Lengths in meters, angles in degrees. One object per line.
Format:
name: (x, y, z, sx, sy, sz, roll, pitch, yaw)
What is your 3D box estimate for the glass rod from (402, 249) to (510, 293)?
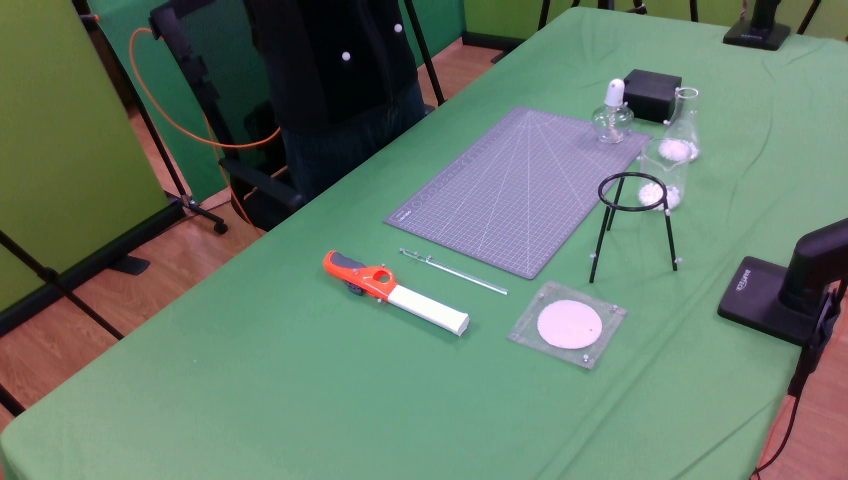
glass rod: (0.045, 0.046, 0.932, 0.198, 0.008, 0.008, 20, 49, 31)

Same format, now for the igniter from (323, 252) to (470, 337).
igniter: (-0.052, 0.075, 0.901, 0.274, 0.025, 0.057, 22, 60, 32)

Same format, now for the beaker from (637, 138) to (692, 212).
beaker: (0.383, -0.100, 0.970, 0.074, 0.101, 0.084, 2, 42, 14)

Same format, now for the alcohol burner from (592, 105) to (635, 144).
alcohol burner: (0.353, -0.242, 1.126, 0.078, 0.119, 0.077, -5, 38, 5)

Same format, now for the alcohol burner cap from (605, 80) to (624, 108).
alcohol burner cap: (0.350, -0.269, 1.102, 0.034, 0.048, 0.033, -2, 45, 3)

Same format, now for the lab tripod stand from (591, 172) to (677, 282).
lab tripod stand: (0.292, -0.022, 0.867, 0.148, 0.132, 0.147, -7, 39, 6)

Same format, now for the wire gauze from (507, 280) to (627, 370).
wire gauze: (0.196, 0.114, 0.823, 0.120, 0.011, 0.125, 20, 50, 31)

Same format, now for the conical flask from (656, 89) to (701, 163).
conical flask: (0.452, -0.201, 1.057, 0.075, 0.122, 0.075, -6, 40, 5)
